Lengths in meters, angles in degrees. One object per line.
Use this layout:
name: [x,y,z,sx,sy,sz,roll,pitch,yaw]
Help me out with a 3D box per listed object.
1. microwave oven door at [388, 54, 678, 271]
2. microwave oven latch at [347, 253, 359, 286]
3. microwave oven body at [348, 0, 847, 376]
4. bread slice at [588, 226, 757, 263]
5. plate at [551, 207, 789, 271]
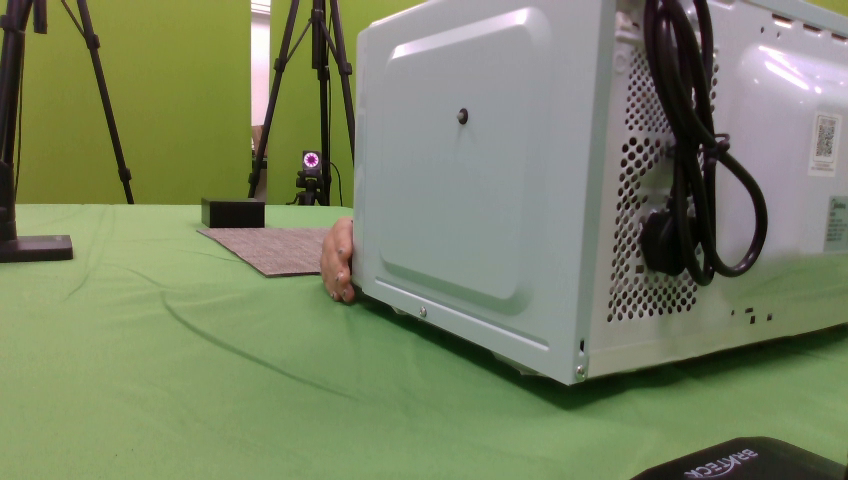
microwave oven door: [0.138,-0.086,0.733,0.357,0.243,0.039,1,8,-15]
microwave oven latch: [-0.034,0.028,0.582,0.079,0.029,0.030,-1,8,-33]
microwave oven body: [0.199,-0.053,0.540,0.444,0.260,0.324,-1,7,-32]
bread slice: [0.225,0.003,0.569,0.132,0.019,0.104,6,4,-24]
plate: [0.224,-0.003,0.572,0.209,0.038,0.209,3,8,0]
